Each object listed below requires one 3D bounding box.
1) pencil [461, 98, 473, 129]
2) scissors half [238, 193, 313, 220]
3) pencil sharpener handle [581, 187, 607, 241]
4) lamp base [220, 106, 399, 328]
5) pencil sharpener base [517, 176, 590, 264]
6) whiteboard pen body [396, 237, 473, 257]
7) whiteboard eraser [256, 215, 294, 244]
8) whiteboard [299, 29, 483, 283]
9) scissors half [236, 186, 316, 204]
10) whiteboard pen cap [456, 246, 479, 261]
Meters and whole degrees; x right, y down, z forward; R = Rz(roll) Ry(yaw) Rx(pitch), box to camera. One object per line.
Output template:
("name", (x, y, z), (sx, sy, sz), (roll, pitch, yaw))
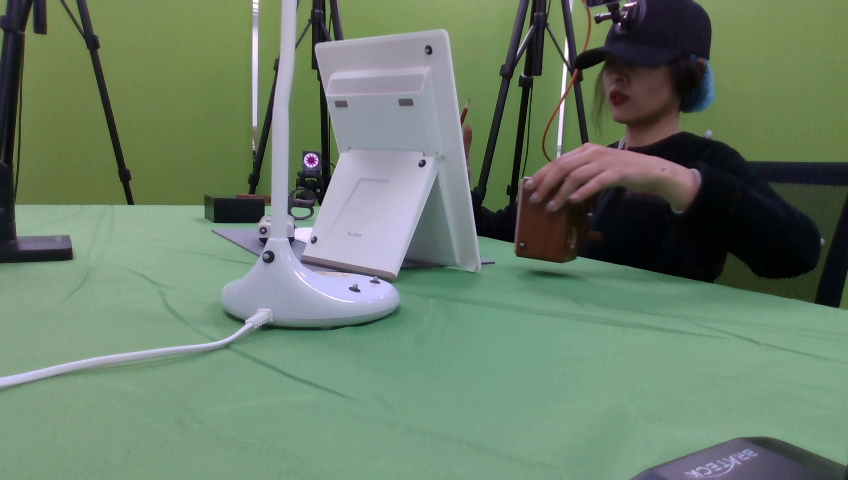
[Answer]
("pencil", (0.051, -0.165, 1.090), (0.012, 0.194, 0.012), (20, 18, -6))
("scissors half", (-0.325, -0.077, 1.320), (0.176, 0.040, 0.012), (17, 8, -32))
("pencil sharpener handle", (0.218, -0.033, 0.764), (0.030, 0.068, 0.036), (9, 18, 29))
("lamp base", (-0.101, -0.023, 0.531), (0.160, 0.180, 0.179), (4, 10, 10))
("pencil sharpener base", (0.171, -0.027, 0.788), (0.076, 0.107, 0.061), (9, 7, 29))
("whiteboard pen body", (0.014, 0.012, 0.886), (0.140, 0.017, 0.017), (9, 10, 38))
("whiteboard eraser", (-0.232, -0.016, 0.951), (0.056, 0.042, 0.112), (2, 7, -12))
("whiteboard", (-0.074, -0.082, 0.742), (0.216, 0.305, 0.144), (9, 30, 38))
("scissors half", (-0.320, -0.097, 1.316), (0.176, 0.040, 0.013), (-4, 13, -29))
("whiteboard pen cap", (0.060, 0.020, 0.851), (0.033, 0.018, 0.018), (12, 11, 37))
